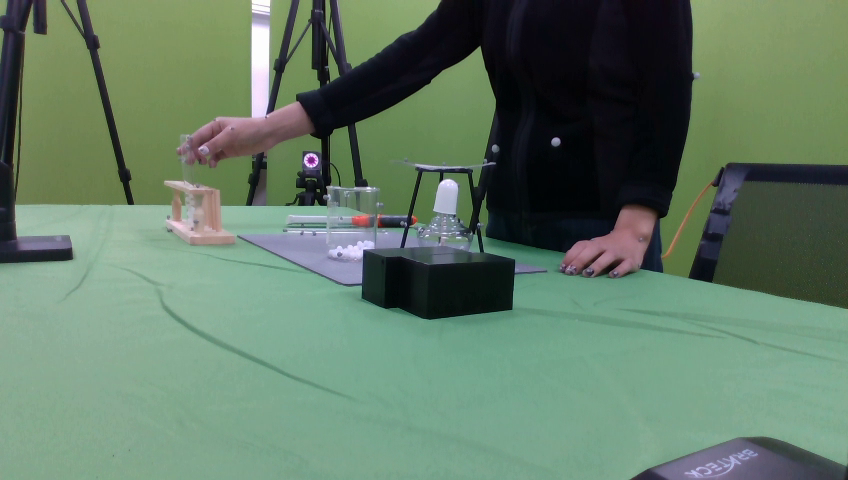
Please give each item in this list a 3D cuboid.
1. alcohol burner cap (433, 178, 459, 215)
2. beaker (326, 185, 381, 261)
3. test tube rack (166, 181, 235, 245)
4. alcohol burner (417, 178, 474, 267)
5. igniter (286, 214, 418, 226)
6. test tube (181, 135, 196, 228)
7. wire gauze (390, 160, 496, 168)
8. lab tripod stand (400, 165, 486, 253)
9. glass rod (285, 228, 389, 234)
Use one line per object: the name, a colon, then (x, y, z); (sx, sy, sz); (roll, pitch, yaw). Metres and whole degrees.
alcohol burner cap: (0.031, -0.059, 0.806); (0.034, 0.048, 0.034); (9, 10, -1)
beaker: (-0.100, -0.025, 0.835); (0.074, 0.100, 0.083); (0, 7, -23)
test tube rack: (-0.383, -0.051, 1.024); (0.067, 0.085, 0.241); (-2, 9, -31)
alcohol burner: (0.029, -0.024, 0.810); (0.078, 0.119, 0.078); (1, 9, 0)
igniter: (-0.146, -0.043, 1.263); (0.278, 0.025, 0.057); (-1, -2, -24)
test tube: (-0.377, -0.094, 0.973); (0.017, 0.150, 0.017); (-2, 5, 1)
wire gauze: (0.027, -0.115, 0.919); (0.122, 0.011, 0.124); (-4, 10, -34)
lab tripod stand: (0.027, -0.049, 0.930); (0.148, 0.131, 0.148); (2, 9, 0)
glass rod: (-0.154, -0.016, 1.101); (0.201, 0.008, 0.008); (1, 6, -31)
